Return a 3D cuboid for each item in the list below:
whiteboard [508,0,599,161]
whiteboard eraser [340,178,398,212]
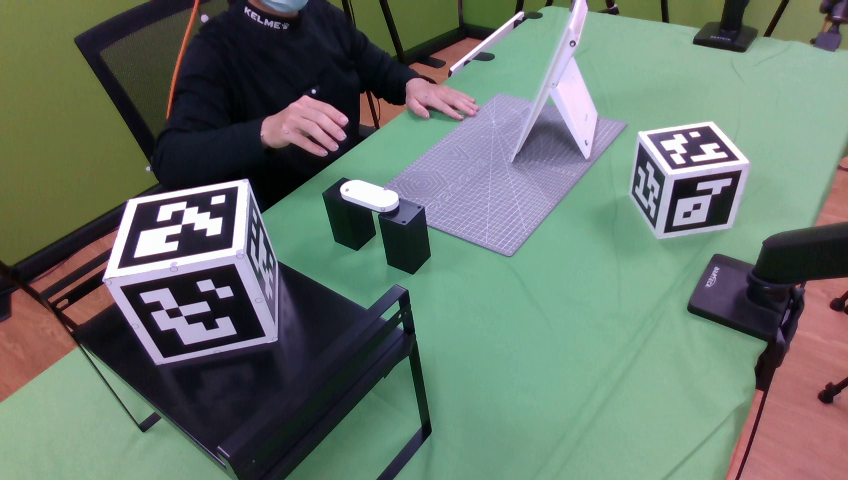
[{"bbox_3d":[0.285,-0.289,1.088,0.144,0.305,0.217,22,45,3],"label":"whiteboard"},{"bbox_3d":[-0.083,-0.068,0.906,0.100,0.019,0.041,20,49,29],"label":"whiteboard eraser"}]
